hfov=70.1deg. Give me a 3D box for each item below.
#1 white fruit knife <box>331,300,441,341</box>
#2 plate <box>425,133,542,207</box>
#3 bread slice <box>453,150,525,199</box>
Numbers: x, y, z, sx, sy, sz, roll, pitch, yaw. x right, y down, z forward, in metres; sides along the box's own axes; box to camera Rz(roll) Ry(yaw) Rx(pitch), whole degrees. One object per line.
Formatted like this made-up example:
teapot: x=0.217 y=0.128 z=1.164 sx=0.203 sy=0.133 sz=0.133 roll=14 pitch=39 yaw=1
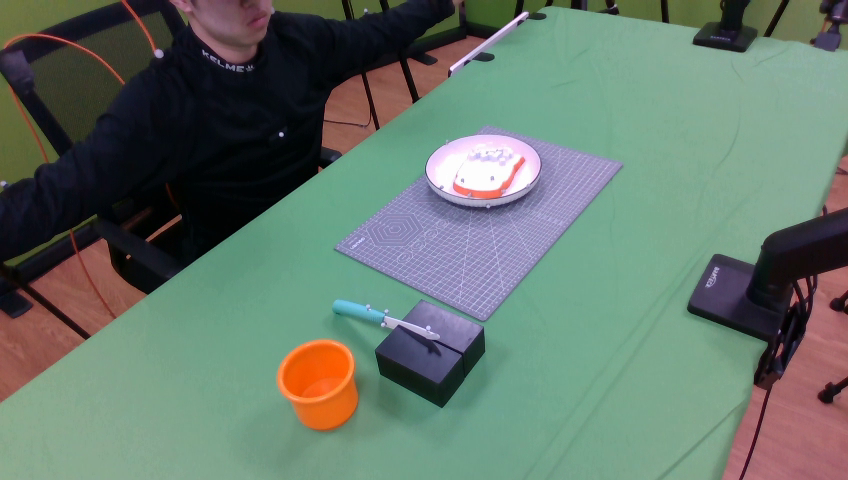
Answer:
white fruit knife: x=-0.056 y=0.107 z=0.807 sx=0.205 sy=0.027 sz=0.016 roll=9 pitch=42 yaw=40
plate: x=0.106 y=-0.121 z=1.079 sx=0.209 sy=0.038 sz=0.208 roll=-4 pitch=41 yaw=4
bread slice: x=0.112 y=-0.118 z=1.079 sx=0.104 sy=0.019 sz=0.131 roll=11 pitch=42 yaw=21
